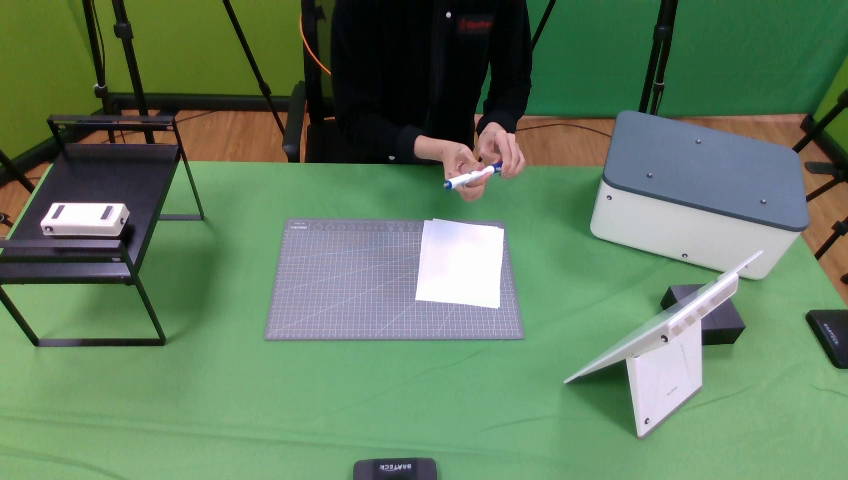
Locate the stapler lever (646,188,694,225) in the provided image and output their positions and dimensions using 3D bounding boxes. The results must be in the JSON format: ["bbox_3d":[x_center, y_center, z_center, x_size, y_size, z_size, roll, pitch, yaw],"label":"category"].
[{"bbox_3d":[0.515,-0.078,1.265,0.027,0.040,0.117,-2,42,-29],"label":"stapler lever"}]

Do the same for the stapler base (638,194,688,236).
[{"bbox_3d":[0.509,-0.059,1.278,0.041,0.024,0.129,-2,40,-29],"label":"stapler base"}]

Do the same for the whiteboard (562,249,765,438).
[{"bbox_3d":[0.386,0.175,0.905,0.217,0.306,0.143,-26,72,-26],"label":"whiteboard"}]

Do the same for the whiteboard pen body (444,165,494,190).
[{"bbox_3d":[0.085,-0.109,1.030,0.141,0.017,0.017,-24,52,-40],"label":"whiteboard pen body"}]

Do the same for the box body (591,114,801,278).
[{"bbox_3d":[0.540,-0.092,1.229,0.363,0.161,0.253,16,47,11],"label":"box body"}]

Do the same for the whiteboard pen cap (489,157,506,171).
[{"bbox_3d":[0.128,-0.133,1.066,0.018,0.018,0.033,37,55,27],"label":"whiteboard pen cap"}]

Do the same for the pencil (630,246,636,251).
[{"bbox_3d":[0.431,-0.060,1.284,0.012,0.012,0.193,3,58,-1],"label":"pencil"}]

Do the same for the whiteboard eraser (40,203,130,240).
[{"bbox_3d":[-0.513,-0.028,0.922,0.113,0.042,0.055,1,48,-3],"label":"whiteboard eraser"}]

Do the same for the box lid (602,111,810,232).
[{"bbox_3d":[0.545,-0.143,1.176,0.371,0.015,0.262,15,47,11],"label":"box lid"}]
